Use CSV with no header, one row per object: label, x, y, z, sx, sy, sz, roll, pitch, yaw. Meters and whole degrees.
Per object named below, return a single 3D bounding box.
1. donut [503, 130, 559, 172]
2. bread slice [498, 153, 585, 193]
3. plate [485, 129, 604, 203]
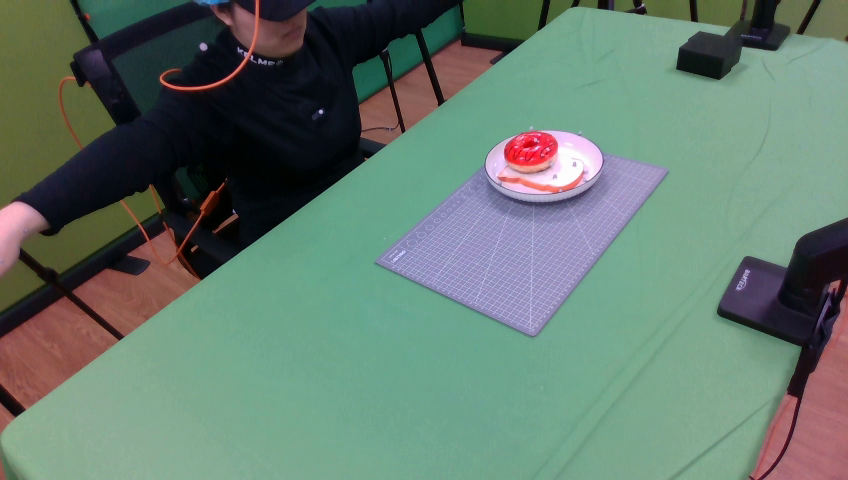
donut,0.190,-0.158,1.076,0.099,0.048,0.098,-8,40,8
bread slice,0.215,-0.125,1.076,0.133,0.018,0.107,17,48,28
plate,0.213,-0.129,1.079,0.209,0.038,0.208,-5,40,5
